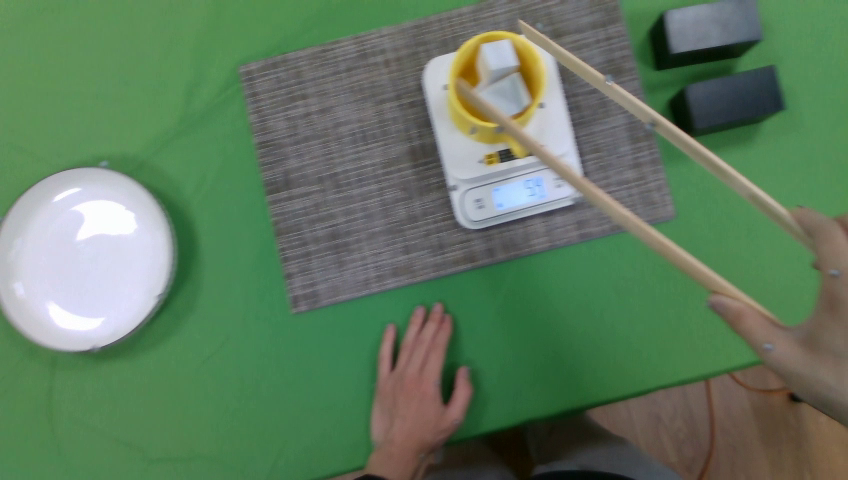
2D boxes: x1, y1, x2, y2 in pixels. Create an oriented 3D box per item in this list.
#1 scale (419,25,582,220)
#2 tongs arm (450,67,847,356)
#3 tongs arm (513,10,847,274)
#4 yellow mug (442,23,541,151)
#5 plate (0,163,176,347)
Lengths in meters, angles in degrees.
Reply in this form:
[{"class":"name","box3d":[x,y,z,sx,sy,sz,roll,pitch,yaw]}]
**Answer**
[{"class":"scale","box3d":[0.086,-0.134,0.685,0.148,0.031,0.200,-15,87,2]},{"class":"tongs arm","box3d":[0.147,-0.041,0.469,0.028,0.028,0.383,-43,59,-5]},{"class":"tongs arm","box3d":[0.182,-0.072,0.468,0.051,0.027,0.381,-42,59,-1]},{"class":"yellow mug","box3d":[0.076,-0.154,0.639,0.100,0.064,0.130,-25,87,-1]},{"class":"plate","box3d":[-0.383,0.017,0.694,0.207,0.039,0.207,0,86,2]}]
